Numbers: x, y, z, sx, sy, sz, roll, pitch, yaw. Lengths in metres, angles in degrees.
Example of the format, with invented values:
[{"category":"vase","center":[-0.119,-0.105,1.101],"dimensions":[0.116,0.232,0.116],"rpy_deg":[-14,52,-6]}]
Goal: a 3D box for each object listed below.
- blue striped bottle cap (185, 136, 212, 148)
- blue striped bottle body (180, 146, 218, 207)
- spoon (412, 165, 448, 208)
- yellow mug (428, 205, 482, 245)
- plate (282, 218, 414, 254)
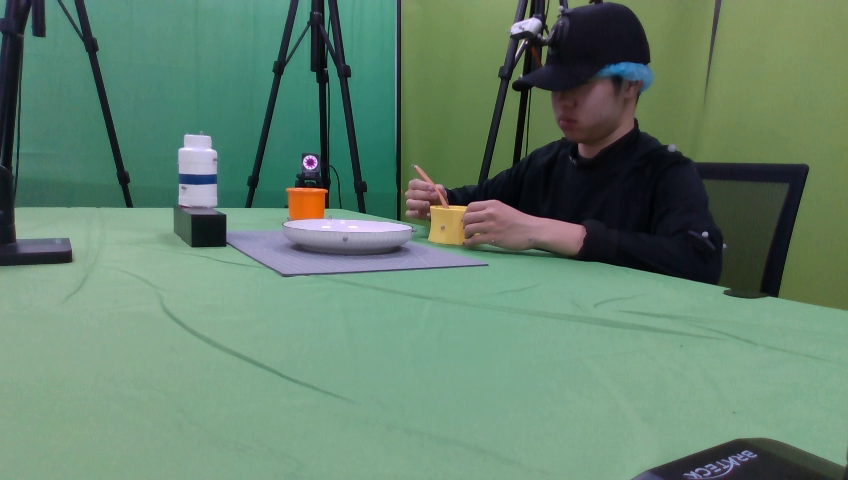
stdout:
[{"category":"blue striped bottle cap","center":[-0.390,-0.169,1.047],"dimensions":[0.044,0.020,0.044],"rpy_deg":[4,10,0]},{"category":"blue striped bottle body","center":[-0.392,-0.118,1.053],"dimensions":[0.063,0.120,0.063],"rpy_deg":[2,8,0]},{"category":"spoon","center":[0.028,-0.078,1.146],"dimensions":[0.042,0.021,0.193],"rpy_deg":[0,49,-43]},{"category":"yellow mug","center":[0.063,-0.028,1.111],"dimensions":[0.100,0.064,0.130],"rpy_deg":[-1,8,-22]},{"category":"plate","center":[-0.121,-0.007,0.971],"dimensions":[0.208,0.039,0.207],"rpy_deg":[2,7,0]}]
